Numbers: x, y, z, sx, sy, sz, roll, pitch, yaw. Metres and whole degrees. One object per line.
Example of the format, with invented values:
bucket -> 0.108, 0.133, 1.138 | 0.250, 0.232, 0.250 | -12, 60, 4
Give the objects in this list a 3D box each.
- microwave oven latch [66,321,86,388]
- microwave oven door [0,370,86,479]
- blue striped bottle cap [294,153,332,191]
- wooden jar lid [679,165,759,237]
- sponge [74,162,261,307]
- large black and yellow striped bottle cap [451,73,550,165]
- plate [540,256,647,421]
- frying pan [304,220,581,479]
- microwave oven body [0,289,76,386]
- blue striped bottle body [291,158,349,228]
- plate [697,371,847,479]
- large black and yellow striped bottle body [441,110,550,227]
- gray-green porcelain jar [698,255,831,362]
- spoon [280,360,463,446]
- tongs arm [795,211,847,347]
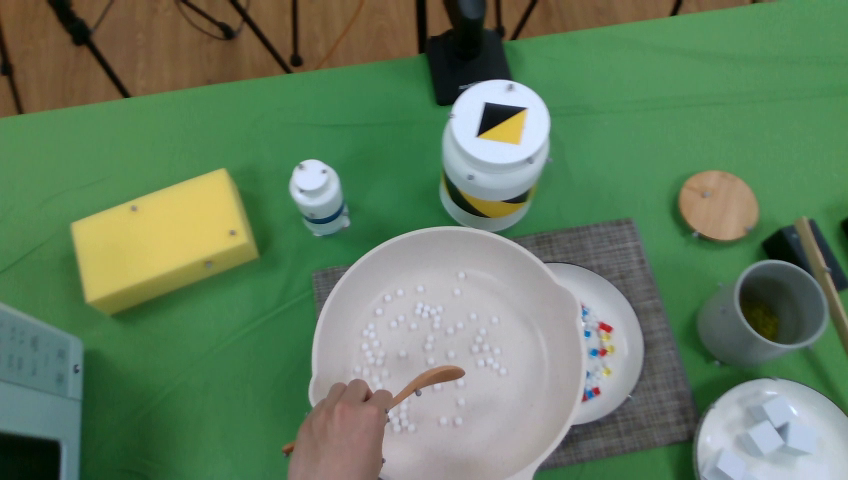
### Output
microwave oven latch -> -0.433, 0.141, 0.741 | 0.030, 0.030, 0.078 | -8, 70, -3
microwave oven door -> -0.400, 0.305, 0.570 | 0.039, 0.245, 0.353 | -9, 69, -3
blue striped bottle cap -> -0.137, -0.084, 0.747 | 0.044, 0.021, 0.044 | -1, 66, 2
wooden jar lid -> 0.409, -0.053, 0.846 | 0.108, 0.021, 0.107 | 0, 71, 0
sponge -> -0.337, -0.008, 0.806 | 0.207, 0.061, 0.117 | -22, 71, -9
large black and yellow striped bottle cap -> 0.089, -0.142, 0.702 | 0.115, 0.019, 0.114 | 0, 71, 0
plate -> 0.172, 0.122, 0.765 | 0.209, 0.038, 0.207 | 0, 69, 1
frying pan -> 0.055, 0.201, 0.617 | 0.307, 0.104, 0.482 | -19, 57, -5
microwave oven body -> -0.551, 0.291, 0.581 | 0.326, 0.262, 0.438 | -9, 70, -4
blue striped bottle body -> -0.136, -0.066, 0.796 | 0.063, 0.121, 0.062 | 0, 69, 0
plate -> 0.425, 0.262, 0.717 | 0.208, 0.039, 0.206 | 0, 69, 0
large black and yellow striped bottle body -> 0.089, -0.109, 0.779 | 0.131, 0.185, 0.130 | 0, 68, 0
gray-green porcelain jar -> 0.402, 0.089, 0.735 | 0.106, 0.127, 0.105 | 0, 69, 0
spoon -> -0.045, 0.156, 0.586 | 0.194, 0.042, 0.021 | -21, 67, -27
tongs arm -> 0.546, 0.142, 0.732 | 0.051, 0.026, 0.383 | -14, 80, -7
